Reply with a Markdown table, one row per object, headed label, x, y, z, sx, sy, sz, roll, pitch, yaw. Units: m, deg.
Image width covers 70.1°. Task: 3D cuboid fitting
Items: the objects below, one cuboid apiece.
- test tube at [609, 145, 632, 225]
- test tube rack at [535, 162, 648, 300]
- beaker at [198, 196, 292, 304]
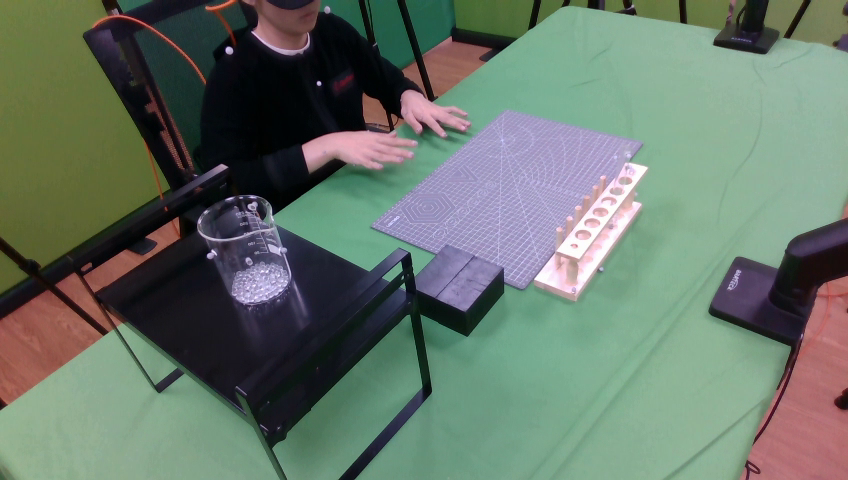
| label | x | y | z | sx | sy | sz | roll | pitch | yaw |
| --- | --- | --- | --- | --- | --- | --- | --- | --- | --- |
| test tube | 0.290 | -0.077 | 0.897 | 0.017 | 0.151 | 0.017 | -4 | 46 | 5 |
| test tube rack | 0.257 | -0.024 | 0.916 | 0.066 | 0.085 | 0.243 | 22 | 49 | 30 |
| beaker | -0.185 | 0.014 | 0.651 | 0.083 | 0.101 | 0.074 | 9 | 44 | 18 |
